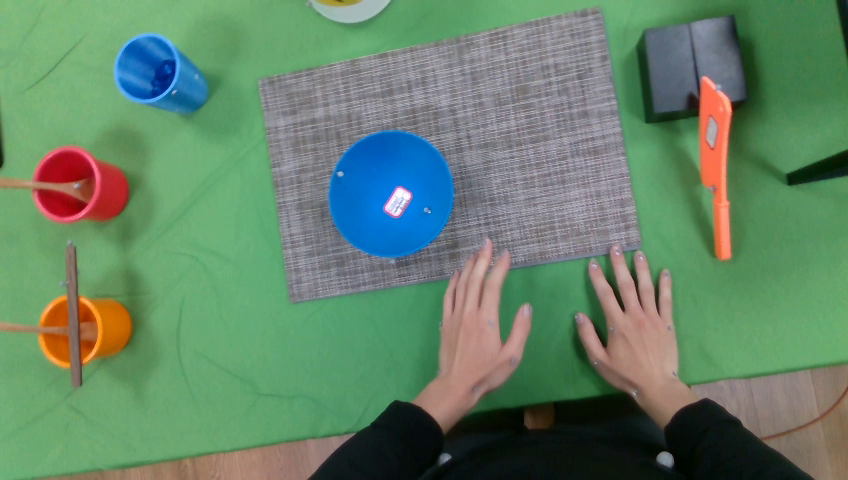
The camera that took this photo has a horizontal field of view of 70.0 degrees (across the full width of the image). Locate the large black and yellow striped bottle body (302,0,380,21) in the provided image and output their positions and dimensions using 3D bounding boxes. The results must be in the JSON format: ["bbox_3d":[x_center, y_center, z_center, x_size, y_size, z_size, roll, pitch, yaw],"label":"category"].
[{"bbox_3d":[-0.118,-0.356,0.711,0.130,0.184,0.130,0,87,8],"label":"large black and yellow striped bottle body"}]

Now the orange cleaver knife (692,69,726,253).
[{"bbox_3d":[0.325,-0.087,0.692,0.012,0.076,0.213,-13,116,4],"label":"orange cleaver knife"}]

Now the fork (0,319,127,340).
[{"bbox_3d":[-0.489,0.109,0.763,0.209,0.018,0.028,11,99,-35],"label":"fork"}]

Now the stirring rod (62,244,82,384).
[{"bbox_3d":[-0.439,0.092,0.756,0.014,0.006,0.176,-5,88,5],"label":"stirring rod"}]

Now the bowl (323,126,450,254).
[{"bbox_3d":[-0.039,-0.056,0.740,0.151,0.077,0.151,0,88,8],"label":"bowl"}]

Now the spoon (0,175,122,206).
[{"bbox_3d":[-0.496,-0.070,0.775,0.195,0.021,0.041,3,86,-35],"label":"spoon"}]

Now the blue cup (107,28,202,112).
[{"bbox_3d":[-0.336,-0.206,0.777,0.092,0.100,0.092,0,89,6],"label":"blue cup"}]
